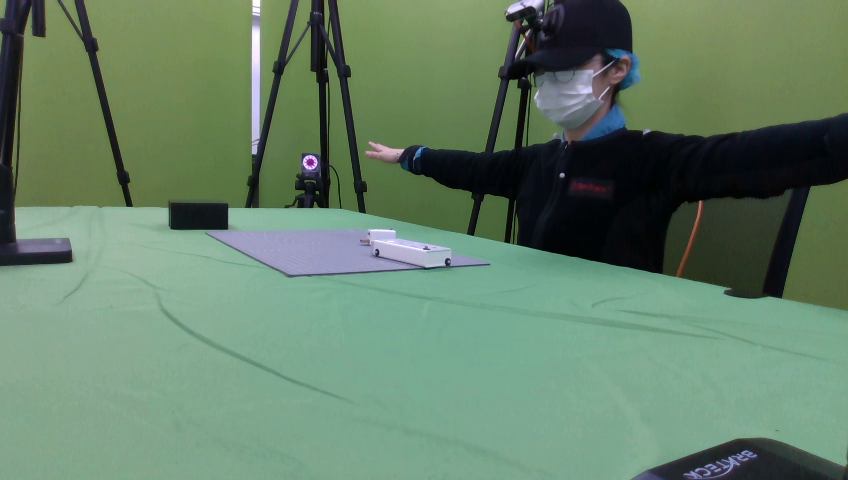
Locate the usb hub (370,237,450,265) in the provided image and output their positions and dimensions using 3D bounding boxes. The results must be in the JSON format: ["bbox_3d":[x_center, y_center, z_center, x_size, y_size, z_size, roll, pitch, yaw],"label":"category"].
[{"bbox_3d":[-0.022,0.014,0.861,0.050,0.025,0.124,-5,9,-41],"label":"usb hub"}]

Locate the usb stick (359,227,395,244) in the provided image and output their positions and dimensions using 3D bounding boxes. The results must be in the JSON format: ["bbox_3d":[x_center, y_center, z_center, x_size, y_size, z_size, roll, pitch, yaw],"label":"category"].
[{"bbox_3d":[-0.079,-0.007,1.009,0.059,0.027,0.021,-4,10,-19],"label":"usb stick"}]
